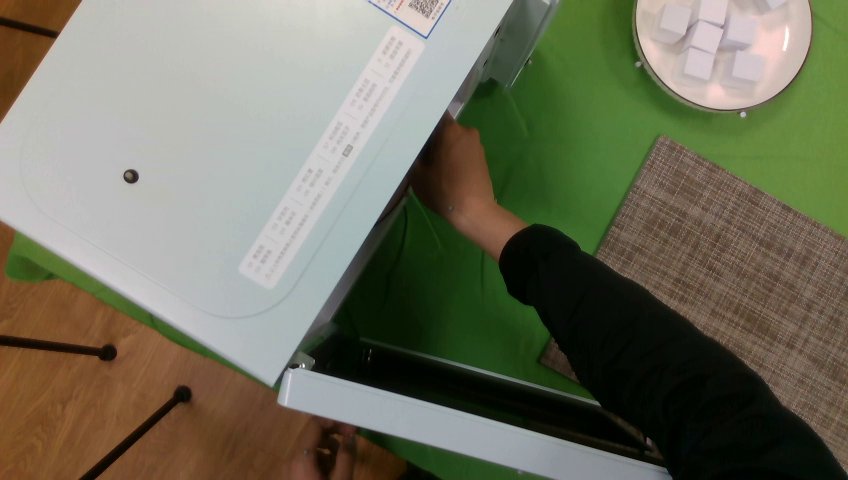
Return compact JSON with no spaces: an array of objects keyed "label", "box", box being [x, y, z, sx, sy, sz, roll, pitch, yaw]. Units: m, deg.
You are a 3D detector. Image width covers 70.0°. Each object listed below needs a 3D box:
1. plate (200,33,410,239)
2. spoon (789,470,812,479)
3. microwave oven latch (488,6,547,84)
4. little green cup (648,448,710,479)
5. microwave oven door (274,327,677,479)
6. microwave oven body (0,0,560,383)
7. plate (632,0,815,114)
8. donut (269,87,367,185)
[{"label":"plate","box":[-0.119,-0.104,0.619,0.209,0.038,0.208,0,87,-3]},{"label":"spoon","box":[0.438,0.356,0.694,0.042,0.021,0.193,-8,90,-20]},{"label":"microwave oven latch","box":[0.103,-0.215,0.673,0.030,0.029,0.079,36,88,-1]},{"label":"little green cup","box":[0.284,0.266,0.685,0.061,0.038,0.061,0,85,-2]},{"label":"microwave oven door","box":[0.060,0.156,0.560,0.356,0.244,0.039,16,87,-1]},{"label":"microwave oven body","box":[-0.113,-0.147,0.567,0.326,0.260,0.441,32,88,-1]},{"label":"plate","box":[0.340,-0.246,0.701,0.208,0.039,0.207,0,88,-2]},{"label":"donut","box":[-0.106,-0.104,0.608,0.099,0.048,0.099,0,90,5]}]
